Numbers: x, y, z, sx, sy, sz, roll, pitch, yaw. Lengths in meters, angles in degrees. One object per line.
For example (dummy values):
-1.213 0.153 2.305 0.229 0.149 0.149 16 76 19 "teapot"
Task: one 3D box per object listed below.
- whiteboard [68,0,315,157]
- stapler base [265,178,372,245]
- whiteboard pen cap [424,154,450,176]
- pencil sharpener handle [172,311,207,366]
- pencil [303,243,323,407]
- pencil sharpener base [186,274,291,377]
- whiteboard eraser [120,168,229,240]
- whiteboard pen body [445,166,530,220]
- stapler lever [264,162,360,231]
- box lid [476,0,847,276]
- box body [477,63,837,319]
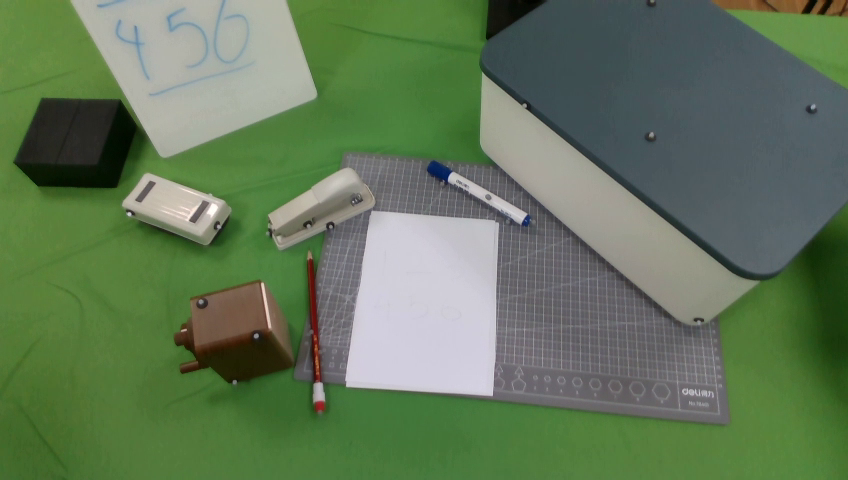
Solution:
-0.295 -0.298 0.732 0.217 0.308 0.142 -25 46 -12 "whiteboard"
-0.126 -0.041 0.720 0.130 0.024 0.041 -27 61 -10 "stapler base"
0.017 -0.092 0.748 0.033 0.018 0.018 32 67 18 "whiteboard pen cap"
-0.232 0.100 0.586 0.031 0.068 0.035 -15 47 -7 "pencil sharpener handle"
-0.123 0.087 0.661 0.012 0.012 0.192 -8 62 -4 "pencil"
-0.184 0.089 0.606 0.077 0.108 0.061 -15 63 -7 "pencil sharpener base"
-0.291 -0.041 0.711 0.112 0.042 0.055 20 67 9 "whiteboard eraser"
0.065 -0.063 0.730 0.140 0.017 0.017 32 67 18 "whiteboard pen body"
-0.129 -0.052 0.698 0.118 0.040 0.026 -27 61 -10 "stapler lever"
0.259 -0.157 0.619 0.263 0.015 0.368 -38 69 -19 "box lid"
0.261 -0.120 0.684 0.254 0.161 0.361 -38 68 -19 "box body"
